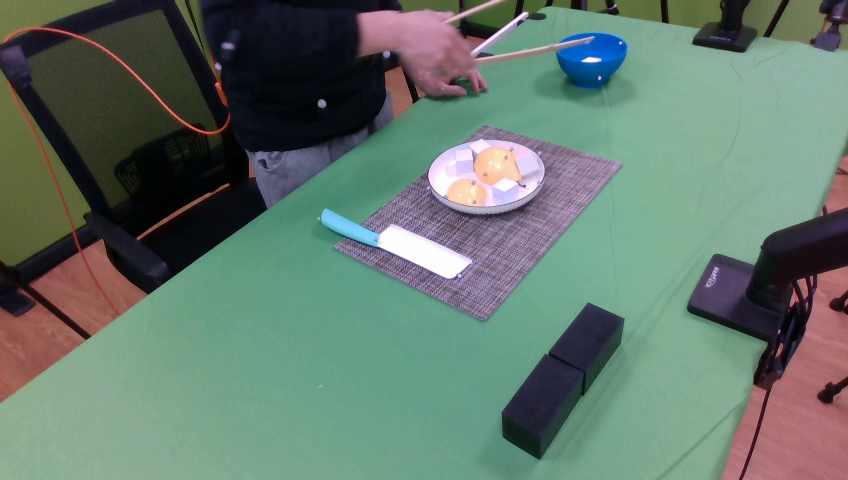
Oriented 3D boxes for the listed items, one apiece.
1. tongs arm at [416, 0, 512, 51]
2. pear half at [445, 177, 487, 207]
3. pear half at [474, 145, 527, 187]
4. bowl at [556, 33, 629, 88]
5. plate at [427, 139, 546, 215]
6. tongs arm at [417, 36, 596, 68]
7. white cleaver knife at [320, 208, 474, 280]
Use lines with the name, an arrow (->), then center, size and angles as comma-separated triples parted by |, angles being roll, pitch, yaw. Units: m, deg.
tongs arm -> 0.134, -0.409, 1.068 | 0.389, 0.028, 0.027 | -31, 13, -28
pear half -> 0.072, -0.086, 1.031 | 0.070, 0.031, 0.087 | -21, 37, -10
pear half -> 0.140, -0.129, 1.059 | 0.076, 0.056, 0.109 | -37, 53, -24
bowl -> 0.362, -0.385, 1.318 | 0.151, 0.077, 0.150 | -4, 41, 4
plate -> 0.109, -0.106, 1.058 | 0.207, 0.039, 0.206 | -4, 40, 4
tongs arm -> 0.159, -0.347, 1.073 | 0.387, 0.051, 0.026 | -21, 5, -29
white cleaver knife -> -0.053, 0.001, 0.978 | 0.284, 0.021, 0.066 | 23, 40, 26
